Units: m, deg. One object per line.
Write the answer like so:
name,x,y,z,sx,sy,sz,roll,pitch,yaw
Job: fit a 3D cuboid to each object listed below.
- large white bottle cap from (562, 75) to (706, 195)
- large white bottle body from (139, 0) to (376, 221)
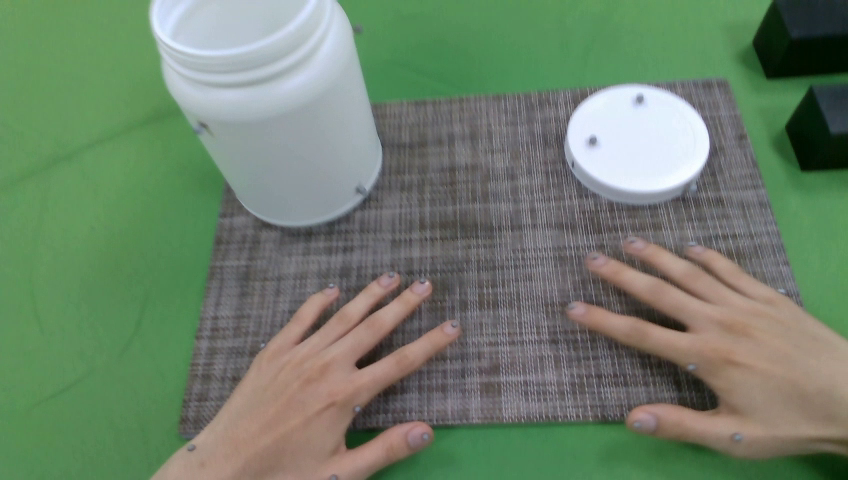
large white bottle cap,0.174,-0.090,0.505,0.115,0.018,0.114,-2,62,4
large white bottle body,-0.113,-0.112,0.448,0.130,0.186,0.129,-2,61,5
